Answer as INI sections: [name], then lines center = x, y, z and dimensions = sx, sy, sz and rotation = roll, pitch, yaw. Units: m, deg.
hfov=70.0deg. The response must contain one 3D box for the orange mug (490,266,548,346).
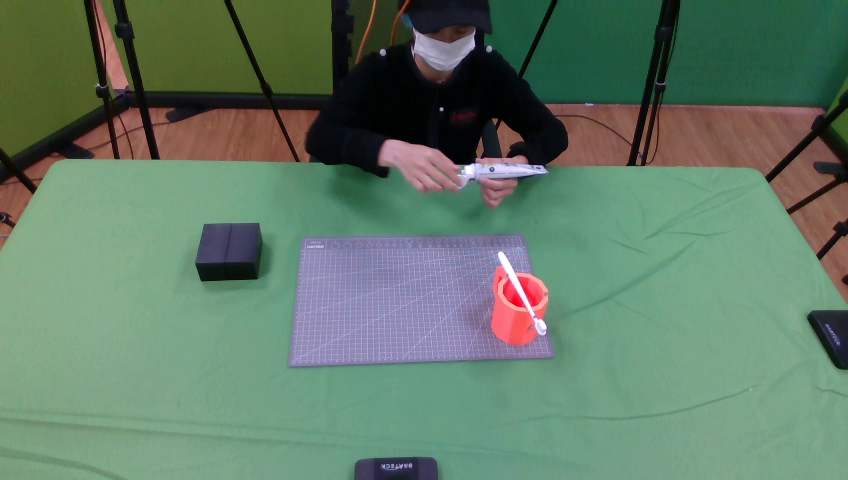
[orange mug]
center = 0.155, 0.107, 1.051
dimensions = 0.083, 0.101, 0.125
rotation = -15, 53, -18

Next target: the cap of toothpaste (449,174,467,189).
[cap of toothpaste]
center = 0.065, -0.114, 1.161
dimensions = 0.037, 0.037, 0.011
rotation = -9, 49, -13

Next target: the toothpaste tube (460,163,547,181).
[toothpaste tube]
center = 0.152, -0.134, 1.178
dimensions = 0.165, 0.034, 0.055
rotation = -4, 26, -3

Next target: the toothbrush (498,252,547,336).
[toothbrush]
center = 0.160, 0.083, 1.001
dimensions = 0.014, 0.017, 0.180
rotation = -14, 48, -11
